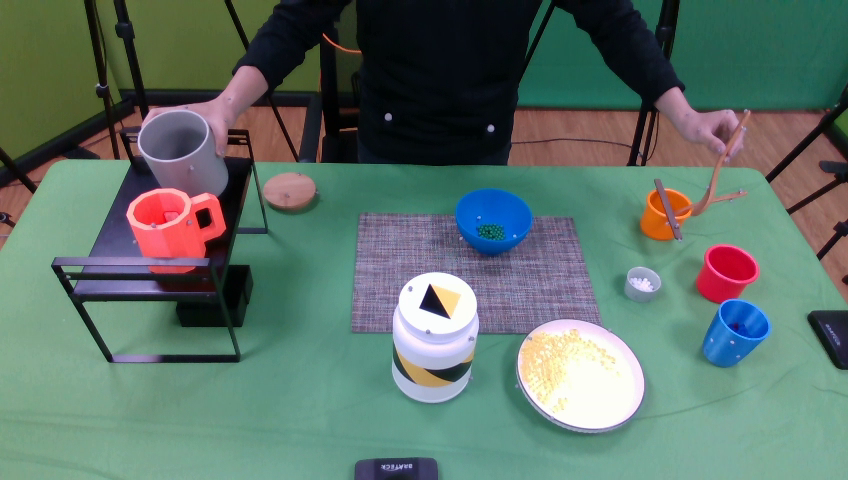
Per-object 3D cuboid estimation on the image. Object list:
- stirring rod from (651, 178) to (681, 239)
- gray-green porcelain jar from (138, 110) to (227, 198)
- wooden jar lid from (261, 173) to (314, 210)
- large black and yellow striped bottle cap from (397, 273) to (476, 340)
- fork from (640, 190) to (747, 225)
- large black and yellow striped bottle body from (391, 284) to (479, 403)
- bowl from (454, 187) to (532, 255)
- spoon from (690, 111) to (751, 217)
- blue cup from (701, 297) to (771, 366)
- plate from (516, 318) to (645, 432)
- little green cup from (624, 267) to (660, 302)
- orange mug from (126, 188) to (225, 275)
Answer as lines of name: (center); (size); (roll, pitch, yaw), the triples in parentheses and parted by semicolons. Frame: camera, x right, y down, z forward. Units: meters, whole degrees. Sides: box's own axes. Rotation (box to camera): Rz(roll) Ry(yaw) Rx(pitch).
stirring rod: (0.479, -0.065, 1.204); (0.014, 0.006, 0.175); (3, 46, -3)
gray-green porcelain jar: (-0.375, -0.123, 0.957); (0.106, 0.127, 0.105); (1, 58, -1)
wooden jar lid: (-0.286, -0.101, 1.273); (0.108, 0.021, 0.107); (3, 45, -3)
large black and yellow striped bottle cap: (0.018, 0.094, 0.878); (0.115, 0.019, 0.114); (3, 46, -3)
fork: (0.533, -0.064, 1.211); (0.207, 0.019, 0.028); (-22, 28, 39)
large black and yellow striped bottle body: (0.015, 0.153, 0.938); (0.131, 0.185, 0.130); (2, 46, -2)
bowl: (0.131, -0.025, 1.187); (0.151, 0.077, 0.150); (2, 46, -2)
spoon: (0.498, -0.125, 1.022); (0.021, 0.194, 0.041); (20, 24, 12)
blue cup: (0.519, 0.162, 1.025); (0.093, 0.101, 0.092); (3, 45, -3)
plate: (0.253, 0.221, 0.992); (0.209, 0.038, 0.208); (2, 46, -2)
little green cup: (0.405, 0.084, 1.135); (0.061, 0.039, 0.061); (3, 46, -3)
orange mug: (-0.357, -0.020, 0.885); (0.126, 0.101, 0.083); (-29, 54, -23)
